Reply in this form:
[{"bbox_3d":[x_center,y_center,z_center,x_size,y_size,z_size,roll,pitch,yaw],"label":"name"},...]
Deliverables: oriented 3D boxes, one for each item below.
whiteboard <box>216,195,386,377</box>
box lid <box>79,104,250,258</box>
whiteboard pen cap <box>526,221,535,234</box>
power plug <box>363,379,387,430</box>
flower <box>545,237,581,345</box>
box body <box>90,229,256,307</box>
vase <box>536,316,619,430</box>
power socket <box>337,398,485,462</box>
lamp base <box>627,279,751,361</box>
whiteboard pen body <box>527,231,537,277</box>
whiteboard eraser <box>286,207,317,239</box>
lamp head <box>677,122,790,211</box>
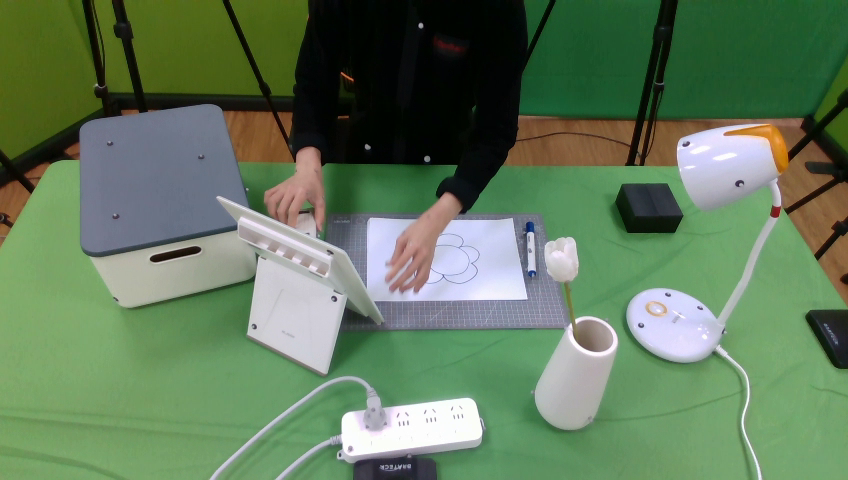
[{"bbox_3d":[-0.212,0.094,0.938,0.216,0.307,0.143,24,70,17],"label":"whiteboard"},{"bbox_3d":[-0.467,-0.120,1.075,0.264,0.015,0.369,-13,49,-17],"label":"box lid"},{"bbox_3d":[0.216,-0.022,1.233,0.018,0.018,0.033,6,45,2],"label":"whiteboard pen cap"},{"bbox_3d":[-0.071,0.252,0.911,0.035,0.053,0.072,3,40,0],"label":"power plug"},{"bbox_3d":[0.213,0.137,0.846,0.038,0.364,0.044,21,55,40],"label":"flower"},{"bbox_3d":[-0.471,-0.070,1.131,0.254,0.161,0.361,-14,49,-17],"label":"box body"},{"bbox_3d":[0.229,0.200,0.901,0.098,0.201,0.097,3,46,-3],"label":"vase"},{"bbox_3d":[-0.018,0.285,0.914,0.227,0.033,0.071,-4,46,-8],"label":"power socket"},{"bbox_3d":[0.460,0.100,1.027,0.178,0.181,0.160,27,51,17],"label":"lamp base"},{"bbox_3d":[0.211,0.018,1.191,0.017,0.017,0.140,6,44,2],"label":"whiteboard pen body"},{"bbox_3d":[-0.225,-0.016,1.111,0.055,0.042,0.112,-9,39,-4],"label":"whiteboard eraser"},{"bbox_3d":[0.423,-0.104,0.819,0.122,0.113,0.112,-13,33,40],"label":"lamp head"}]
